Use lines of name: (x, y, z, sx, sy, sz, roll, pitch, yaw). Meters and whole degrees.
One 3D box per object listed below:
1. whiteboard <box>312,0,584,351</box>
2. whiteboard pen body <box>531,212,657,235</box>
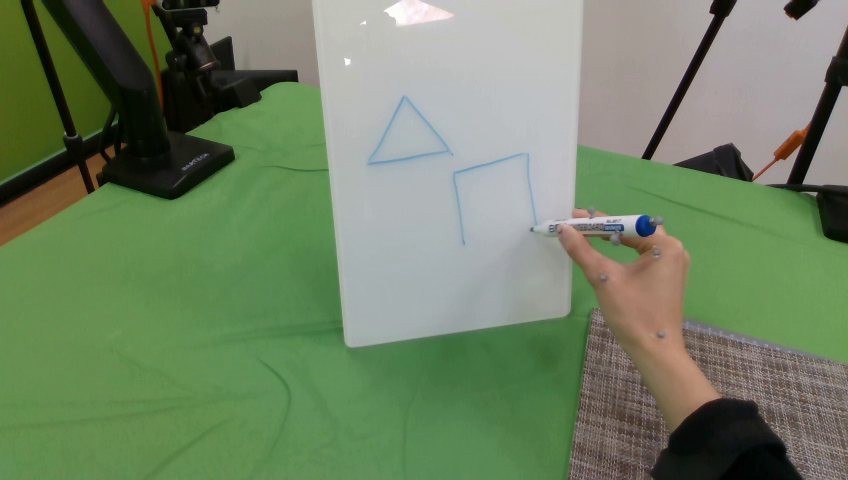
whiteboard: (0.016, -0.079, 0.568, 0.218, 0.307, 0.142, -7, 19, -11)
whiteboard pen body: (0.125, -0.012, 0.473, 0.017, 0.017, 0.140, -17, 7, -24)
